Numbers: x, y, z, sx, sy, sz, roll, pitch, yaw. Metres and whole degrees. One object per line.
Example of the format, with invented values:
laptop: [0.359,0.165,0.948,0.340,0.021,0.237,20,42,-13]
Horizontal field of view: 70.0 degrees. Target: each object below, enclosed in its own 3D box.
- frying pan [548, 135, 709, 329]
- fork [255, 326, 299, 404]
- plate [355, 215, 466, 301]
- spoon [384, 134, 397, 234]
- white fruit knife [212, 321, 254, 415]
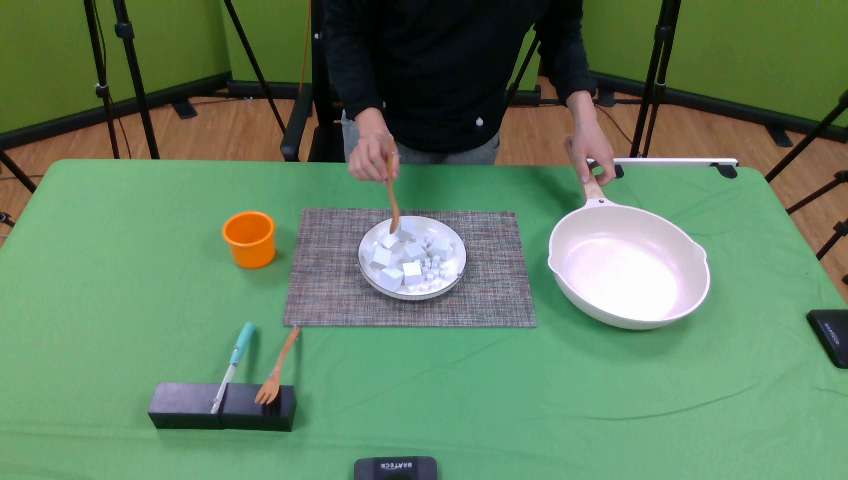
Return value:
frying pan: [0.360,-0.033,1.200,0.307,0.103,0.484,-4,55,-9]
fork: [-0.226,0.192,0.955,0.028,0.019,0.206,0,27,4]
plate: [-0.025,0.038,1.143,0.208,0.039,0.206,3,46,-2]
spoon: [-0.062,-0.096,1.075,0.021,0.194,0.041,-5,34,-2]
white fruit knife: [-0.298,0.193,0.947,0.016,0.027,0.206,1,31,0]
